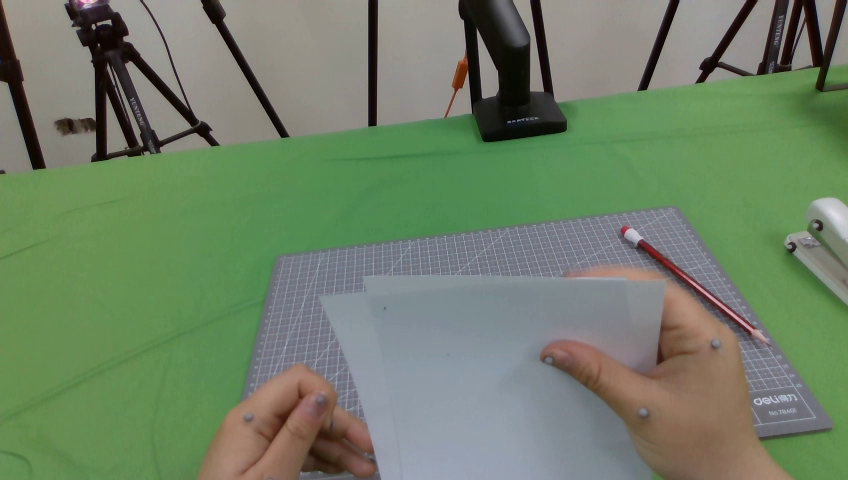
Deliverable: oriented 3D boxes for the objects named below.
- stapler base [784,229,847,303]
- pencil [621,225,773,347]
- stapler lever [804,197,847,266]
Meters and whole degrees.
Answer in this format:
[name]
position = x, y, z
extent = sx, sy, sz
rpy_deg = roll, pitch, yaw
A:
[stapler base]
position = 0.386, 0.024, 0.554
extent = 0.041, 0.025, 0.129
rpy_deg = -12, 38, -2
[pencil]
position = 0.248, 0.037, 0.567
extent = 0.012, 0.012, 0.192
rpy_deg = -19, 38, -15
[stapler lever]
position = 0.384, 0.005, 0.537
extent = 0.027, 0.040, 0.117
rpy_deg = -12, 38, -2
